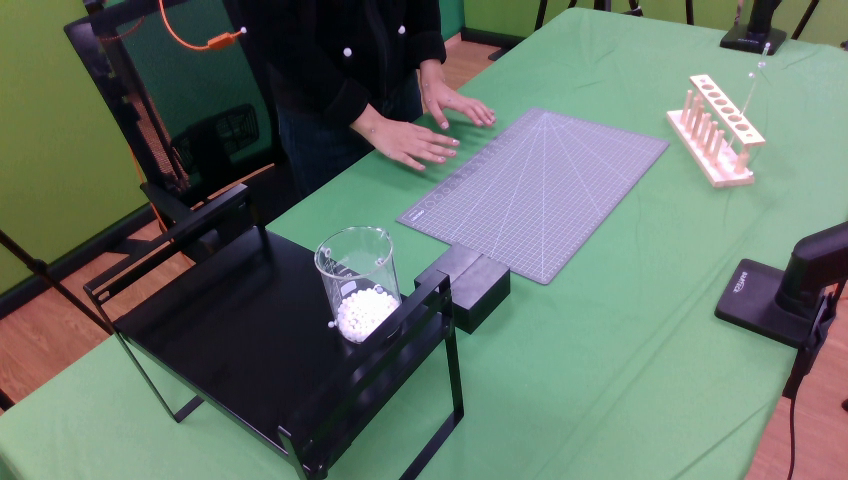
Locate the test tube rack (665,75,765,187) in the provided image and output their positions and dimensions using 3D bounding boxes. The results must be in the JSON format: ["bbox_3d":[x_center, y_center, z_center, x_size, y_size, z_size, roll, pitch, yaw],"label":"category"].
[{"bbox_3d":[0.512,-0.201,1.082,0.067,0.085,0.241,-6,41,2],"label":"test tube rack"}]

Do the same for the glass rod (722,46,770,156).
[{"bbox_3d":[0.533,-0.226,1.006,0.008,0.200,0.008,1,41,-1],"label":"glass rod"}]

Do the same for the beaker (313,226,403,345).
[{"bbox_3d":[-0.059,0.046,0.594,0.073,0.101,0.084,23,49,30],"label":"beaker"}]
